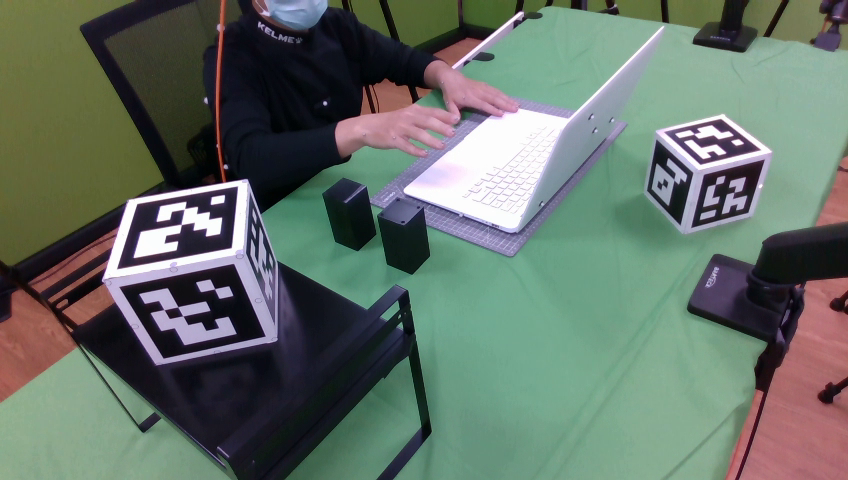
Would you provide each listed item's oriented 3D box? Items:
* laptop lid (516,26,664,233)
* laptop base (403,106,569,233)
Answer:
[{"bbox_3d":[0.268,-0.178,0.966,0.013,0.242,0.357,35,52,16],"label":"laptop lid"},{"bbox_3d":[0.156,-0.144,1.116,0.233,0.023,0.355,20,47,32],"label":"laptop base"}]
